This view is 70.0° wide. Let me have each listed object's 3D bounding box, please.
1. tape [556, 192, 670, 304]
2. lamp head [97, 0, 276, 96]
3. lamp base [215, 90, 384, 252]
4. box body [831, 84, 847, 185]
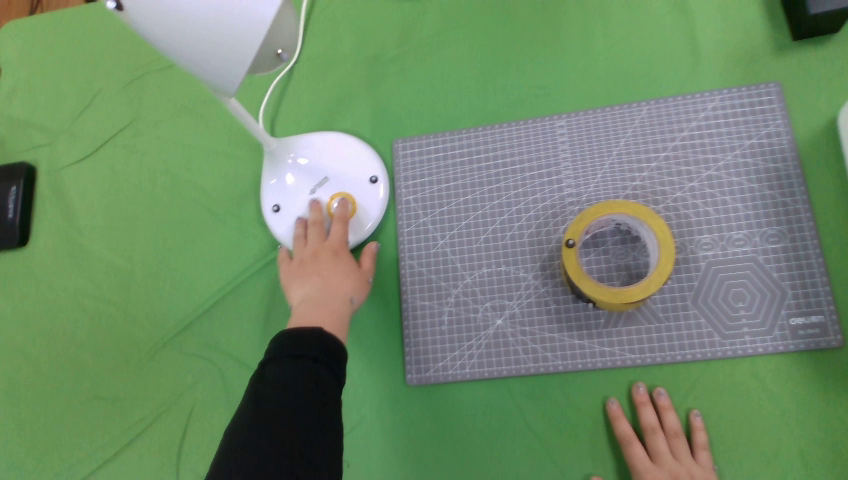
[{"bbox_3d":[0.198,0.009,0.644,0.116,0.053,0.116,-2,75,9],"label":"tape"},{"bbox_3d":[-0.154,-0.167,0.380,0.123,0.112,0.112,24,79,-19],"label":"lamp head"},{"bbox_3d":[-0.151,-0.089,0.669,0.178,0.181,0.160,32,83,19],"label":"lamp base"},{"bbox_3d":[0.550,-0.022,0.531,0.254,0.161,0.362,-6,74,9],"label":"box body"}]
